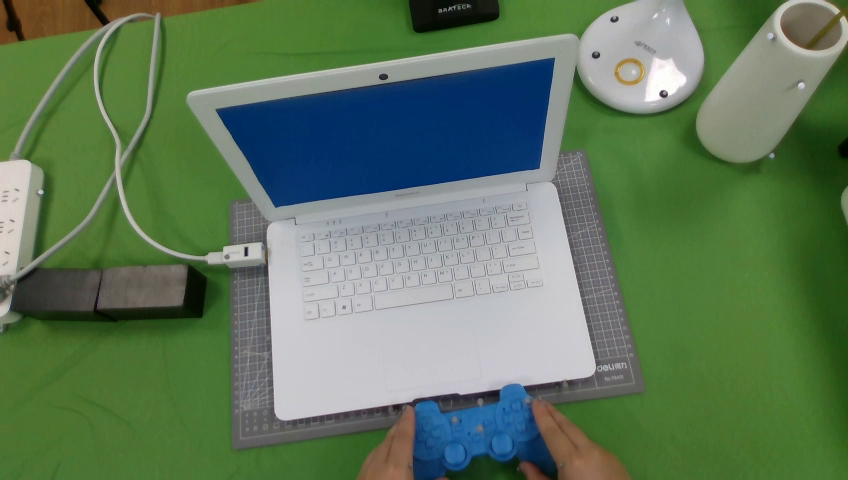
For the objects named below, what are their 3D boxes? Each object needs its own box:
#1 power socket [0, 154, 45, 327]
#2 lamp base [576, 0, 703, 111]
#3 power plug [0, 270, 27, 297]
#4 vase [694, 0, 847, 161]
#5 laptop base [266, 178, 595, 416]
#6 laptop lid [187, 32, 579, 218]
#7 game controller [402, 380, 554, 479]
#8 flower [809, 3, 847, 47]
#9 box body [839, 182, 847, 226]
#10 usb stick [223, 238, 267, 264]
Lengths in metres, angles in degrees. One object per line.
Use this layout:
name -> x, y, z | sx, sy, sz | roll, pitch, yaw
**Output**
power socket -> -0.521, -0.006, 0.747 | 0.072, 0.033, 0.225 | -5, 69, 1
lamp base -> 0.276, -0.274, 0.711 | 0.160, 0.181, 0.178 | 24, 71, 12
power plug -> -0.486, 0.055, 0.702 | 0.072, 0.053, 0.035 | 6, 69, 5
vase -> 0.368, -0.168, 0.656 | 0.098, 0.201, 0.097 | -2, 68, 5
laptop base -> -0.002, 0.059, 0.696 | 0.354, 0.023, 0.234 | -8, 73, 1
laptop lid -> -0.028, -0.104, 0.629 | 0.357, 0.244, 0.013 | -9, 63, 2
game controller -> 0.052, 0.202, 0.627 | 0.155, 0.052, 0.096 | -9, 69, -1
flower -> 0.381, -0.199, 0.579 | 0.038, 0.363, 0.043 | 6, 60, -11
box body -> 0.605, 0.058, 0.578 | 0.254, 0.161, 0.361 | -7, 70, 2
usb stick -> -0.203, 0.012, 0.712 | 0.059, 0.027, 0.021 | -5, 68, -3
